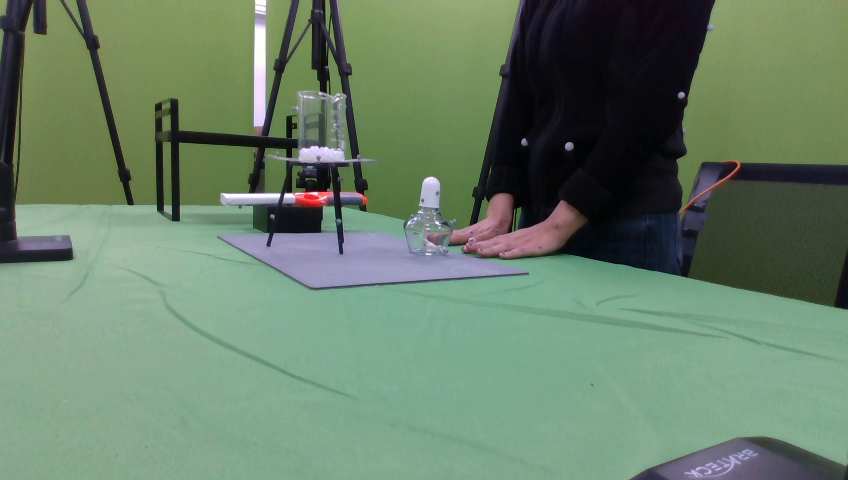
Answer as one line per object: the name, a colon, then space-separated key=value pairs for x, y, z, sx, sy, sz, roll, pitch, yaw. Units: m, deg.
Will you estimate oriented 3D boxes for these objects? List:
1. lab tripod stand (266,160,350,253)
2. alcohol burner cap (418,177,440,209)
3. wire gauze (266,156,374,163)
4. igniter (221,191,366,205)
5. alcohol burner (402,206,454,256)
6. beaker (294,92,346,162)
lab tripod stand: x=-0.163 y=-0.054 z=0.914 sx=0.148 sy=0.131 sz=0.148 roll=2 pitch=9 yaw=0
alcohol burner cap: x=0.009 y=-0.071 z=0.909 sx=0.034 sy=0.048 sz=0.034 roll=4 pitch=8 yaw=0
wire gauze: x=-0.154 y=-0.119 z=0.910 sx=0.122 sy=0.011 sz=0.124 roll=-4 pitch=8 yaw=-45
igniter: x=-0.240 y=-0.079 z=1.150 sx=0.278 sy=0.025 sz=0.057 roll=-3 pitch=20 yaw=-32
alcohol burner: x=0.007 y=-0.036 z=0.915 sx=0.078 sy=0.119 sz=0.078 roll=4 pitch=5 yaw=0
beaker: x=-0.152 y=-0.165 z=0.896 sx=0.074 sy=0.100 sz=0.083 roll=-4 pitch=10 yaw=-33
